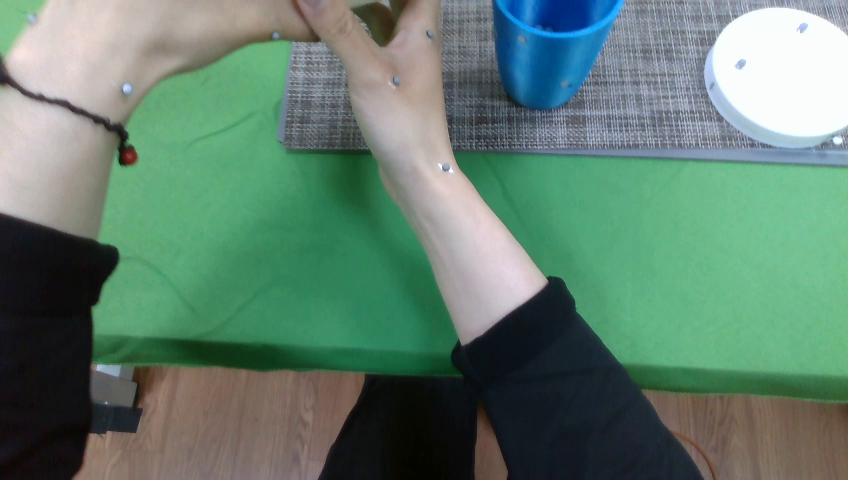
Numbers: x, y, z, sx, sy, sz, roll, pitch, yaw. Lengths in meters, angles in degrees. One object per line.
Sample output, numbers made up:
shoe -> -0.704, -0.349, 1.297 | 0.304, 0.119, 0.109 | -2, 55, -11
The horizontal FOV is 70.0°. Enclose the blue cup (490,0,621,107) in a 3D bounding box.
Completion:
blue cup -> 0.087, -0.146, 0.426 | 0.092, 0.101, 0.092 | -1, 69, 4

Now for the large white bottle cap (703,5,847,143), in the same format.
large white bottle cap -> 0.272, -0.127, 0.457 | 0.115, 0.018, 0.114 | 0, 70, 2

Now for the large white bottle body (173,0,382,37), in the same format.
large white bottle body -> -0.053, -0.192, 0.323 | 0.183, 0.132, 0.130 | -2, 66, 31
